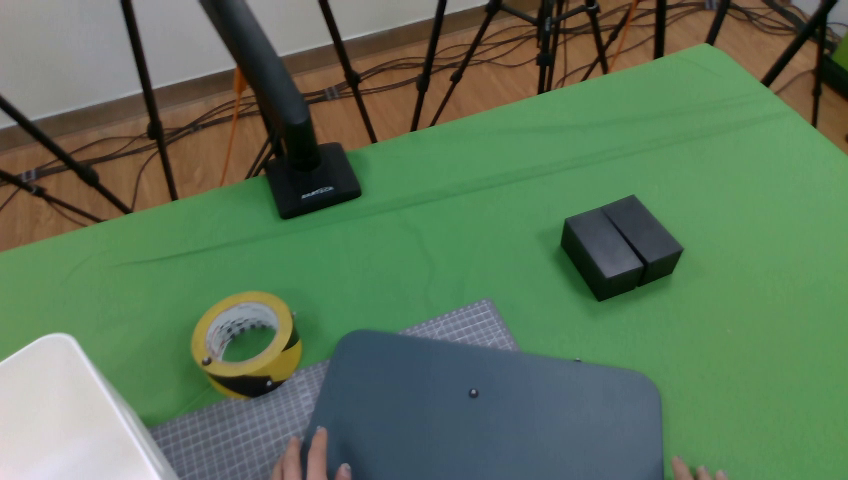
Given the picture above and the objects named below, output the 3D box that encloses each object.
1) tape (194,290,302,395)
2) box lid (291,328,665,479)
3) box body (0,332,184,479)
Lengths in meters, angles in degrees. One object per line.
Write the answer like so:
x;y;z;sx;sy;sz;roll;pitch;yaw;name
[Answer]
-0.201;0.116;0.693;0.117;0.053;0.115;-1;49;2;tape
0.058;0.227;0.620;0.371;0.015;0.261;7;53;8;box lid
-0.376;0.292;0.491;0.364;0.162;0.252;-37;59;-23;box body
